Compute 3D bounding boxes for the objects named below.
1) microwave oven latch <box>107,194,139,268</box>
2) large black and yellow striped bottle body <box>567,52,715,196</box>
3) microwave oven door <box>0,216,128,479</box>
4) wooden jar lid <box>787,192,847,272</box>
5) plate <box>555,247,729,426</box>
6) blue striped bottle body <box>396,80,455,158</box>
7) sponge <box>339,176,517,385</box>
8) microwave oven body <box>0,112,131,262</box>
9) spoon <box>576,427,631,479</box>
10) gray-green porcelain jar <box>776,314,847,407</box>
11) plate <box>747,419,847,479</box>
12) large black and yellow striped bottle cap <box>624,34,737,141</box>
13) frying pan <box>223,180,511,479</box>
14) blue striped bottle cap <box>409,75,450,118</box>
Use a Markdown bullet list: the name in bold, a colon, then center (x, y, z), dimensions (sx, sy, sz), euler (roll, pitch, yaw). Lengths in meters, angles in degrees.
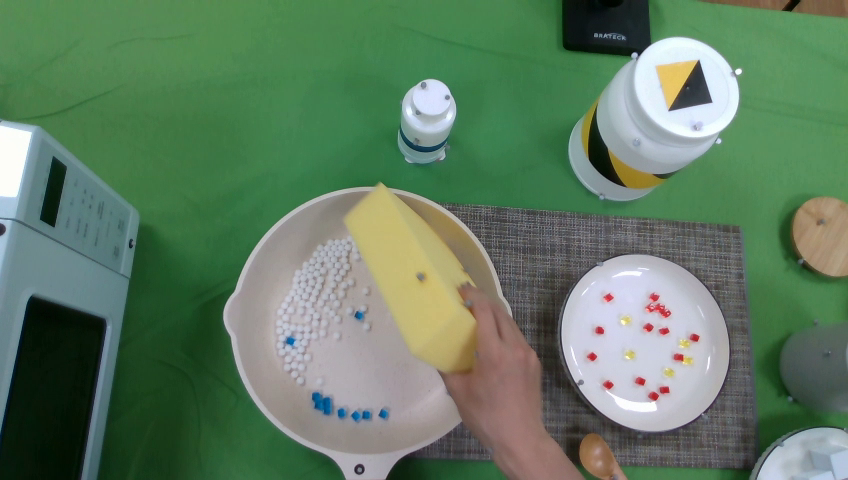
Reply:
- **microwave oven latch**: center (-0.336, -0.011, 0.667), dimensions (0.030, 0.029, 0.079), euler (7, 77, -5)
- **large black and yellow striped bottle body**: center (0.257, -0.139, 0.710), dimensions (0.131, 0.184, 0.130), euler (1, 76, -6)
- **microwave oven door**: center (-0.340, 0.178, 0.518), dimensions (0.039, 0.244, 0.354), euler (4, 76, -5)
- **wooden jar lid**: center (0.526, -0.010, 0.795), dimensions (0.108, 0.021, 0.108), euler (1, 78, -6)
- **plate**: center (0.255, 0.113, 0.723), dimensions (0.209, 0.038, 0.208), euler (1, 77, -5)
- **blue striped bottle body**: center (0.001, -0.146, 0.713), dimensions (0.063, 0.121, 0.063), euler (1, 77, -6)
- **sponge**: center (-0.001, 0.037, 0.623), dimensions (0.061, 0.119, 0.204), euler (-42, 45, 10)
- **microwave oven body**: center (-0.483, 0.127, 0.519), dimensions (0.326, 0.261, 0.439), euler (4, 77, -6)
- **spoon**: center (0.243, 0.288, 0.691), dimensions (0.193, 0.022, 0.041), euler (44, 59, 3)
- **gray-green porcelain jar**: center (0.488, 0.140, 0.702), dimensions (0.106, 0.127, 0.105), euler (2, 77, -6)
- **plate**: center (0.468, 0.315, 0.706), dimensions (0.208, 0.039, 0.206), euler (2, 77, -6)
- **large black and yellow striped bottle cap**: center (0.265, -0.158, 0.626), dimensions (0.115, 0.019, 0.114), euler (2, 75, -6)
- **frying pan**: center (-0.062, 0.177, 0.638), dimensions (0.307, 0.103, 0.484), euler (3, 69, -4)
- **blue striped bottle cap**: center (0.006, -0.158, 0.663), dimensions (0.044, 0.021, 0.044), euler (1, 74, -5)
